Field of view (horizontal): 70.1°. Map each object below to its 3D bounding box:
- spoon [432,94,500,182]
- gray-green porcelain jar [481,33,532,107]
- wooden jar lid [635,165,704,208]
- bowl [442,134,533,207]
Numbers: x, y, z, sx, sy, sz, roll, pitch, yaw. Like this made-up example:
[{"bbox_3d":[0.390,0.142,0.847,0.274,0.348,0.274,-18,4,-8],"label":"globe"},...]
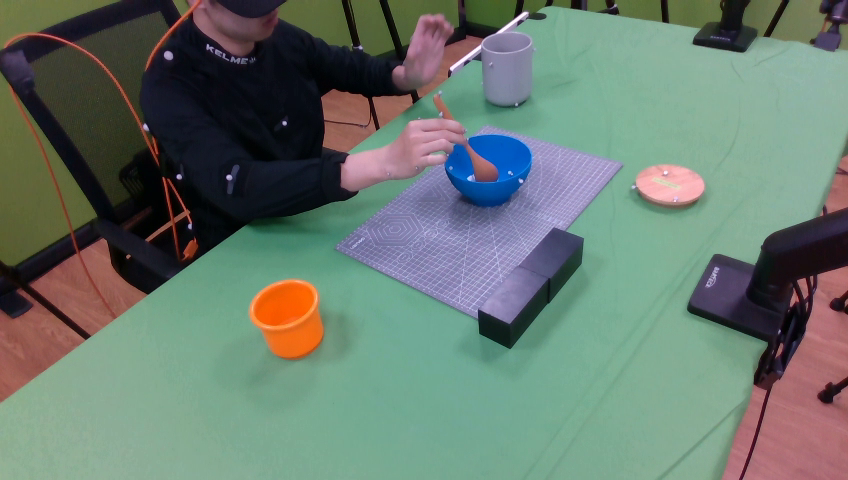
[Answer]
[{"bbox_3d":[0.065,-0.153,0.957,0.041,0.195,0.021,-37,30,6],"label":"spoon"},{"bbox_3d":[0.175,-0.355,1.278,0.106,0.127,0.105,-4,41,4],"label":"gray-green porcelain jar"},{"bbox_3d":[0.410,-0.089,1.014,0.108,0.021,0.108,-5,42,5],"label":"wooden jar lid"},{"bbox_3d":[0.111,-0.110,1.033,0.151,0.077,0.150,-4,41,4],"label":"bowl"}]
